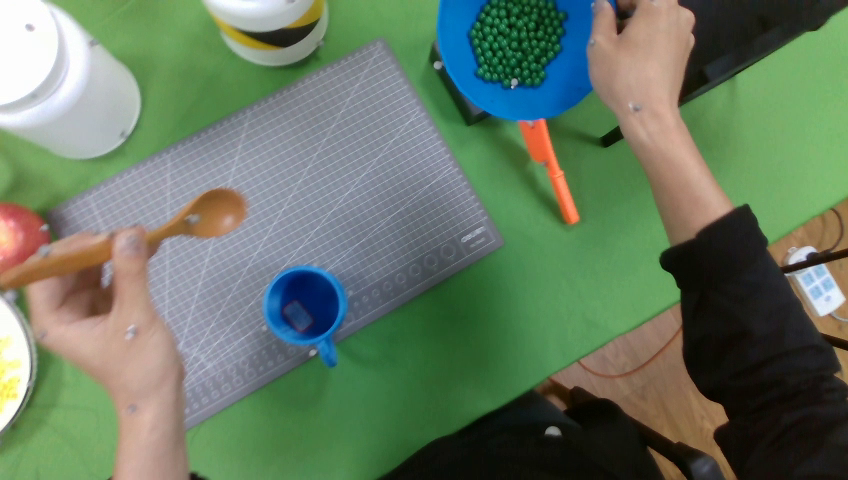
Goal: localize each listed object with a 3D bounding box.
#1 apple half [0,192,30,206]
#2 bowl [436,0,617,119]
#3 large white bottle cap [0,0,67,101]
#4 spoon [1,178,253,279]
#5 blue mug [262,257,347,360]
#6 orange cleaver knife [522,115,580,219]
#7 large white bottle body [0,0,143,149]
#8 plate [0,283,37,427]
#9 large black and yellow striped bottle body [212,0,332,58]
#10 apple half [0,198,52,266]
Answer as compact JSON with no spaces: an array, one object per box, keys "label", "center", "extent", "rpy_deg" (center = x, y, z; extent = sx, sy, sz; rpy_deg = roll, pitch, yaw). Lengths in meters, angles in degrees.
[{"label":"apple half","center":[-0.471,-0.029,0.658],"extent":[0.081,0.081,0.033],"rpy_deg":[-44,96,-6]},{"label":"bowl","center":[0.082,-0.182,0.530],"extent":[0.151,0.076,0.152],"rpy_deg":[-1,101,-4]},{"label":"large white bottle cap","center":[-0.379,-0.182,0.536],"extent":[0.115,0.018,0.114],"rpy_deg":[0,87,-5]},{"label":"spoon","center":[-0.182,-0.009,0.405],"extent":[0.021,0.193,0.042],"rpy_deg":[20,112,15]},{"label":"blue mug","center":[-0.122,0.078,0.670],"extent":[0.082,0.106,0.116],"rpy_deg":[-21,89,-7]},{"label":"orange cleaver knife","center":[0.141,-0.119,0.719],"extent":[0.012,0.076,0.213],"rpy_deg":[-30,121,-7]},{"label":"large white bottle body","center":[-0.386,-0.176,0.620],"extent":[0.131,0.184,0.130],"rpy_deg":[0,86,-5]},{"label":"plate","center":[-0.530,0.127,0.662],"extent":[0.209,0.038,0.208],"rpy_deg":[0,87,-6]},{"label":"large black and yellow striped bottle body","center":[-0.171,-0.289,0.649],"extent":[0.131,0.184,0.130],"rpy_deg":[0,86,-5]},{"label":"apple half","center":[-0.444,-0.001,0.661],"extent":[0.081,0.074,0.053],"rpy_deg":[-44,96,-10]}]
